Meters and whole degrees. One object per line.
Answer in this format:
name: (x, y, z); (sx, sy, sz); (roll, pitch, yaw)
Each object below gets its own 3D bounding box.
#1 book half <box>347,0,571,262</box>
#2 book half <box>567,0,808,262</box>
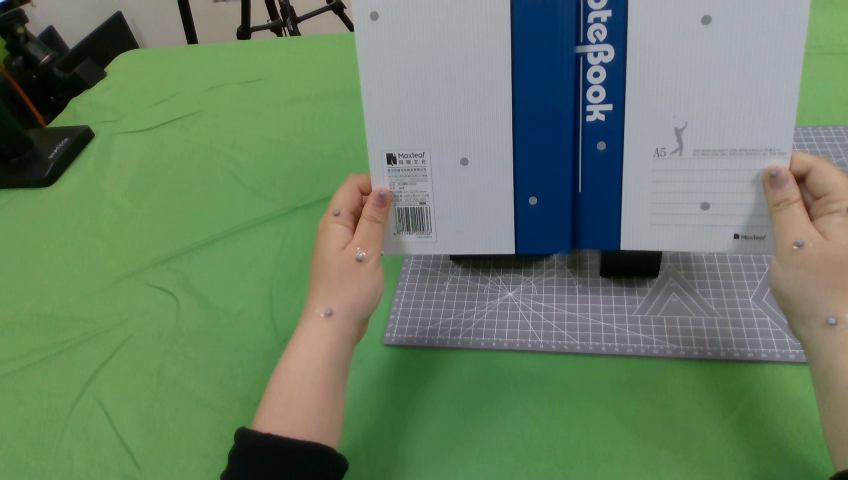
book half: (0.028, -0.084, 0.432); (0.148, 0.211, 0.016); (-1, 20, 9)
book half: (0.167, -0.086, 0.406); (0.143, 0.211, 0.007); (2, 20, 18)
